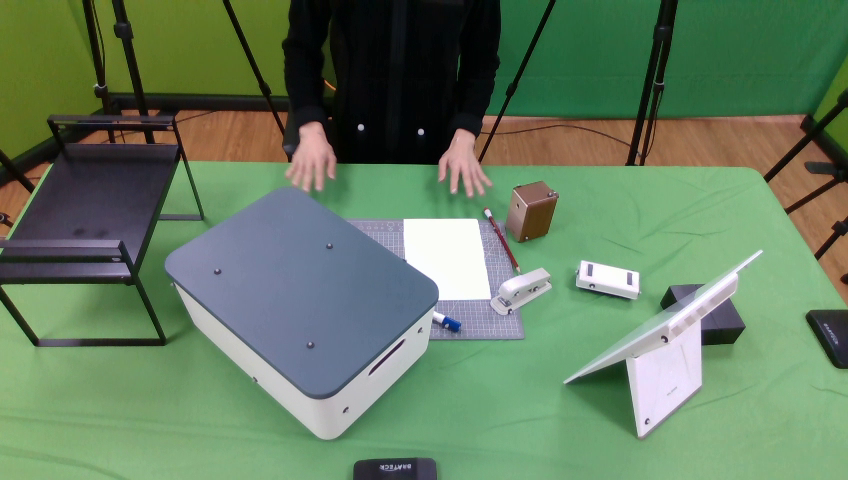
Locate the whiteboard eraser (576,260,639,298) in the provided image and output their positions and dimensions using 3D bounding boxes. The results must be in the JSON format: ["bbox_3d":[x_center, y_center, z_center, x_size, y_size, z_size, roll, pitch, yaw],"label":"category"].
[{"bbox_3d":[0.344,0.075,1.138,0.112,0.042,0.055,12,44,8],"label":"whiteboard eraser"}]

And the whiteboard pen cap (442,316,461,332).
[{"bbox_3d":[0.048,0.146,1.059,0.033,0.018,0.018,24,49,16],"label":"whiteboard pen cap"}]

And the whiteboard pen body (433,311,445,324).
[{"bbox_3d":[-0.004,0.123,1.074,0.140,0.017,0.017,24,49,15],"label":"whiteboard pen body"}]

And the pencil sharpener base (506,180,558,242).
[{"bbox_3d":[0.216,-0.059,1.211,0.077,0.107,0.061,-16,49,-19],"label":"pencil sharpener base"}]

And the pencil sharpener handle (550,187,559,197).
[{"bbox_3d":[0.261,-0.084,1.221,0.031,0.068,0.036,-16,65,-19],"label":"pencil sharpener handle"}]

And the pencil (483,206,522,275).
[{"bbox_3d":[0.158,-0.001,1.218,0.012,0.012,0.192,-11,48,-14],"label":"pencil"}]

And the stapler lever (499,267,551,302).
[{"bbox_3d":[0.185,0.076,1.101,0.118,0.040,0.026,-25,57,-29],"label":"stapler lever"}]

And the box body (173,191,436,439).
[{"bbox_3d":[-0.191,0.110,0.979,0.362,0.161,0.254,33,53,24],"label":"box body"}]

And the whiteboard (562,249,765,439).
[{"bbox_3d":[0.386,0.176,0.905,0.217,0.306,0.143,-26,72,-26],"label":"whiteboard"}]

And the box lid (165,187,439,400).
[{"bbox_3d":[-0.186,0.060,0.925,0.370,0.015,0.263,32,53,25],"label":"box lid"}]

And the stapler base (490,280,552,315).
[{"bbox_3d":[0.181,0.094,1.118,0.130,0.024,0.041,-24,57,-29],"label":"stapler base"}]
